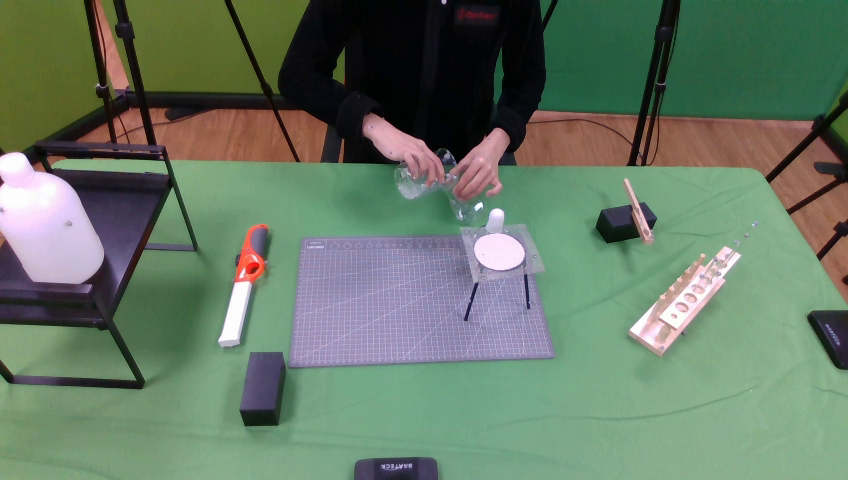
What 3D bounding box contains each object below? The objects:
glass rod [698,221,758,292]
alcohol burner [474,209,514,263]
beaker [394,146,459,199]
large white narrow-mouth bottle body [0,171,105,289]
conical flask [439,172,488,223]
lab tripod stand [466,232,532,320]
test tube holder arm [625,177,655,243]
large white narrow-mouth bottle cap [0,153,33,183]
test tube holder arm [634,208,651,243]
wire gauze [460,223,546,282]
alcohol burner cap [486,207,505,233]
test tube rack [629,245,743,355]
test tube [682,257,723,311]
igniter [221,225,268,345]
[{"bbox_3d":[0.527,0.035,1.059,0.008,0.200,0.008,5,49,-6],"label":"glass rod"},{"bbox_3d":[0.134,-0.013,1.150,0.078,0.120,0.077,0,47,0],"label":"alcohol burner"},{"bbox_3d":[0.003,-0.120,1.113,0.100,0.084,0.073,-22,51,-26],"label":"beaker"},{"bbox_3d":[-0.513,-0.029,0.818,0.102,0.195,0.101,2,46,-2],"label":"large white narrow-mouth bottle body"},{"bbox_3d":[0.072,-0.089,1.202,0.075,0.122,0.075,-14,59,25],"label":"conical flask"},{"bbox_3d":[0.125,0.059,1.065,0.148,0.132,0.147,1,45,0],"label":"lab tripod stand"},{"bbox_3d":[0.433,-0.062,1.220,0.013,0.015,0.177,0,47,-3],"label":"test tube holder arm"},{"bbox_3d":[-0.510,-0.090,0.754,0.038,0.024,0.037,2,46,-2],"label":"large white narrow-mouth bottle cap"},{"bbox_3d":[0.428,-0.030,1.189,0.010,0.015,0.087,1,47,-2],"label":"test tube holder arm"},{"bbox_3d":[0.131,0.016,1.015,0.121,0.011,0.124,-5,45,-8],"label":"wire gauze"},{"bbox_3d":[0.135,-0.039,1.125,0.034,0.048,0.033,4,42,-4],"label":"alcohol burner cap"},{"bbox_3d":[0.474,0.095,1.091,0.242,0.085,0.066,-34,56,-31],"label":"test tube rack"},{"bbox_3d":[0.475,0.080,1.037,0.017,0.151,0.017,1,50,-1],"label":"test tube"},{"bbox_3d":[-0.323,0.072,1.100,0.057,0.025,0.274,-6,45,4],"label":"igniter"}]
